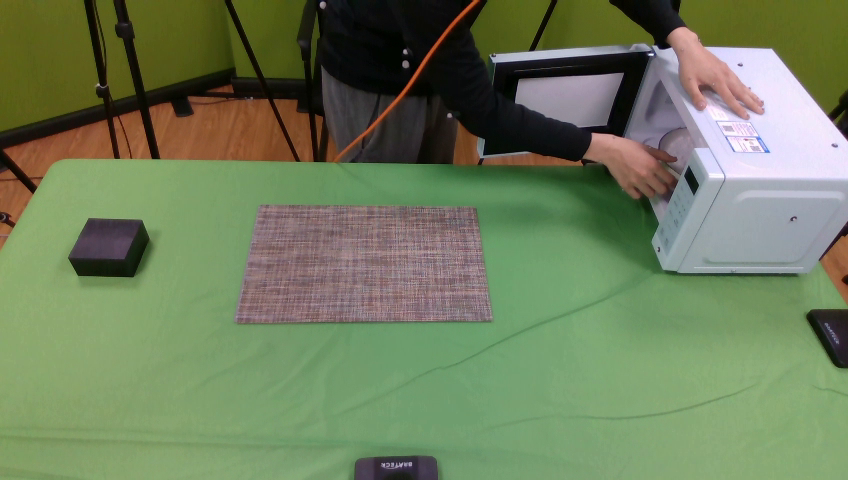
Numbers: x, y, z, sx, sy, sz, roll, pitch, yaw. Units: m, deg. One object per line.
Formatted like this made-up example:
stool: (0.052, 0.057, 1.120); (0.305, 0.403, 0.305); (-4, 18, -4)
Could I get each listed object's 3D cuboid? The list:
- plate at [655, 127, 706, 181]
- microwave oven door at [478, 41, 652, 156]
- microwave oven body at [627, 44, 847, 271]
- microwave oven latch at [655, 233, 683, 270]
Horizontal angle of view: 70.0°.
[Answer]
plate: (0.597, -0.168, 1.302); (0.209, 0.038, 0.208); (3, 46, -3)
microwave oven door: (0.304, -0.310, 1.335); (0.356, 0.245, 0.039); (-8, 48, -10)
microwave oven body: (0.619, -0.172, 1.234); (0.326, 0.261, 0.439); (0, 46, -3)
microwave oven latch: (0.473, 0.021, 1.176); (0.030, 0.029, 0.078); (2, 46, -1)
